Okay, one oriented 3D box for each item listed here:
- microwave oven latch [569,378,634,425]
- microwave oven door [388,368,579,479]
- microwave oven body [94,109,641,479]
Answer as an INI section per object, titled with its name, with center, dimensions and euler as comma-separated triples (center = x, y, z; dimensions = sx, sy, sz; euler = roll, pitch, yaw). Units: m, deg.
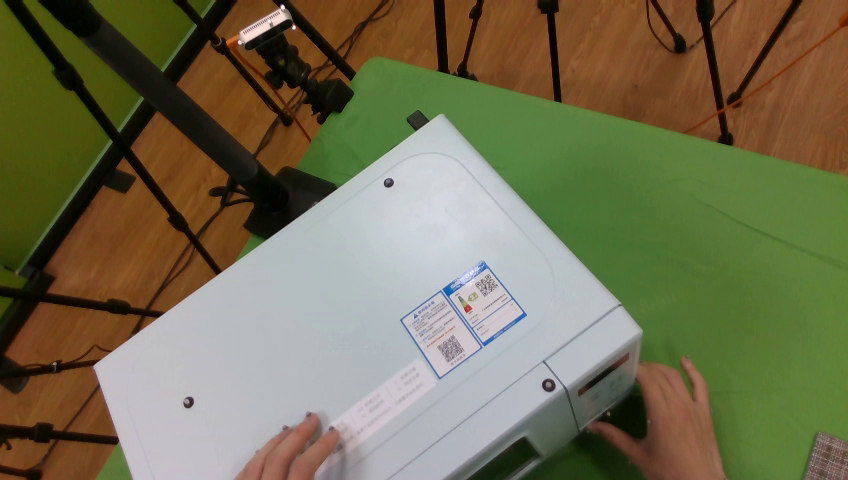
[microwave oven latch]
center = 0.196, 0.172, 0.676
dimensions = 0.079, 0.030, 0.030
euler = -35, 61, -1
[microwave oven door]
center = -0.009, 0.259, 0.579
dimensions = 0.356, 0.246, 0.039
euler = -37, 60, -2
[microwave oven body]
center = -0.051, 0.136, 0.656
dimensions = 0.441, 0.263, 0.322
euler = -37, 61, -2
